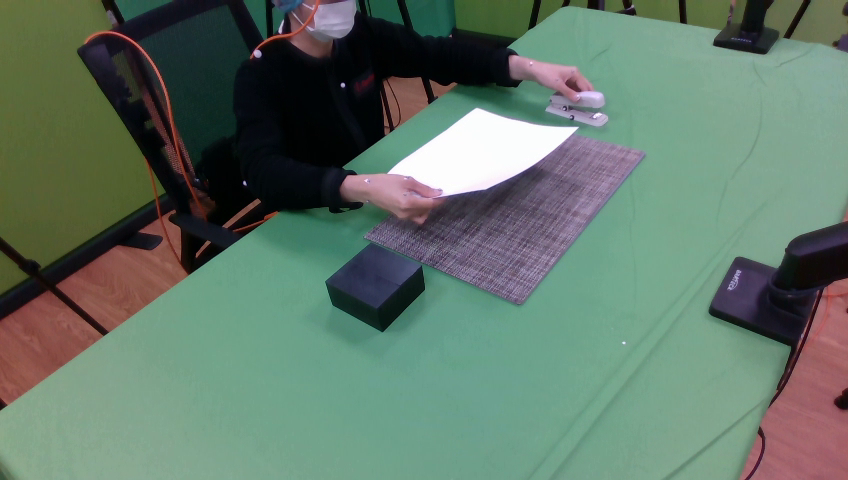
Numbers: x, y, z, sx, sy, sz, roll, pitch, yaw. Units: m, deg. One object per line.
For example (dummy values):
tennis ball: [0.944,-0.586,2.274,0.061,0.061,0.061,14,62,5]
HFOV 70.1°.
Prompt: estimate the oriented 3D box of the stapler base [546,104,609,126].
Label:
stapler base: [0.313,-0.265,1.235,0.129,0.024,0.041,26,49,35]

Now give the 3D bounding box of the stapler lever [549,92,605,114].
stapler lever: [0.309,-0.285,1.220,0.117,0.040,0.027,26,49,35]
